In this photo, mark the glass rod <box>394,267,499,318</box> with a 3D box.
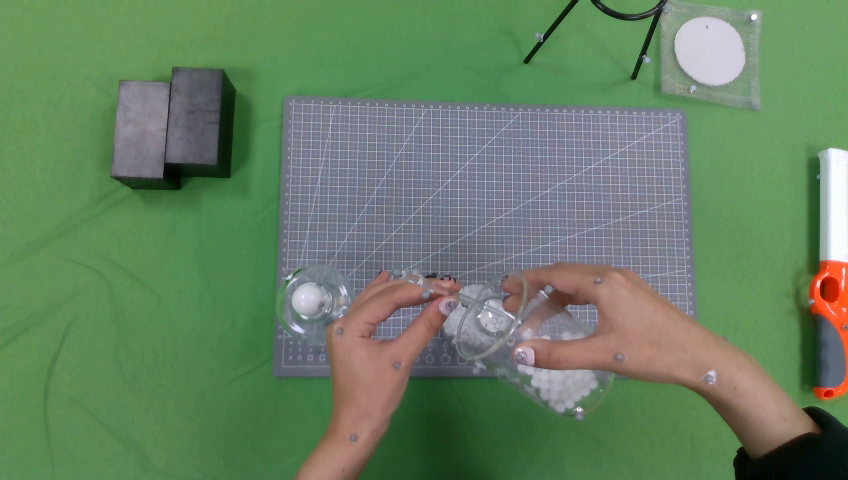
[{"bbox_3d":[0.024,0.044,0.469,0.008,0.201,0.008,-7,73,24],"label":"glass rod"}]

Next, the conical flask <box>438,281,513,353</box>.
[{"bbox_3d":[0.055,0.073,0.582,0.075,0.122,0.075,1,81,-4],"label":"conical flask"}]

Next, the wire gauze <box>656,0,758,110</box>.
[{"bbox_3d":[0.329,-0.219,0.704,0.125,0.011,0.121,7,82,-5],"label":"wire gauze"}]

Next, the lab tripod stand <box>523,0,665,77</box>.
[{"bbox_3d":[0.183,-0.239,0.632,0.148,0.131,0.148,0,84,-3],"label":"lab tripod stand"}]

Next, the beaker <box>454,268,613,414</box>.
[{"bbox_3d":[0.082,0.077,0.451,0.101,0.083,0.074,35,85,-19],"label":"beaker"}]

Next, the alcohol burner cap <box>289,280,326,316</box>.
[{"bbox_3d":[-0.105,0.052,0.541,0.034,0.048,0.034,1,85,-7],"label":"alcohol burner cap"}]

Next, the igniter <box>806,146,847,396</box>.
[{"bbox_3d":[0.447,0.032,0.667,0.057,0.025,0.275,8,82,-14],"label":"igniter"}]

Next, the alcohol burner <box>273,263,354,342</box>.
[{"bbox_3d":[-0.108,0.058,0.576,0.078,0.119,0.077,0,81,-2],"label":"alcohol burner"}]
